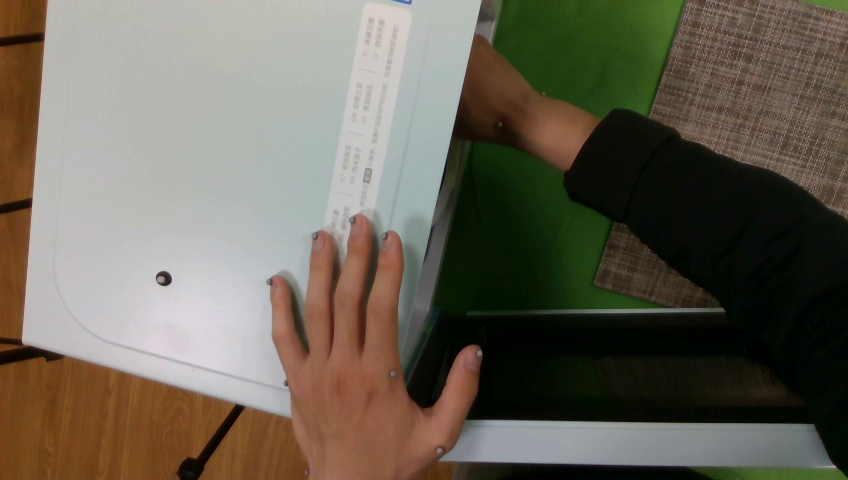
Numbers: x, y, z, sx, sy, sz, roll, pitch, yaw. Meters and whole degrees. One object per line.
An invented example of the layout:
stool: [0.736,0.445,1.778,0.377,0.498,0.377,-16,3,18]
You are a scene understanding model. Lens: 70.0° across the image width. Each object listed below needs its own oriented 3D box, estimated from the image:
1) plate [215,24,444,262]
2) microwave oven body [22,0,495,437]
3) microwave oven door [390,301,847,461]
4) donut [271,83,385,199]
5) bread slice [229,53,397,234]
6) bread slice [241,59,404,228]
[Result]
plate: [-0.083,-0.084,0.550,0.207,0.039,0.208,1,102,7]
microwave oven body: [-0.095,-0.127,0.490,0.326,0.259,0.443,14,104,5]
microwave oven door: [0.169,0.104,0.496,0.355,0.243,0.039,-2,100,9]
donut: [-0.082,-0.084,0.520,0.099,0.048,0.099,2,106,6]
bread slice: [-0.099,-0.081,0.495,0.105,0.019,0.132,-29,99,14]
bread slice: [-0.099,-0.091,0.545,0.107,0.018,0.135,-34,100,5]
